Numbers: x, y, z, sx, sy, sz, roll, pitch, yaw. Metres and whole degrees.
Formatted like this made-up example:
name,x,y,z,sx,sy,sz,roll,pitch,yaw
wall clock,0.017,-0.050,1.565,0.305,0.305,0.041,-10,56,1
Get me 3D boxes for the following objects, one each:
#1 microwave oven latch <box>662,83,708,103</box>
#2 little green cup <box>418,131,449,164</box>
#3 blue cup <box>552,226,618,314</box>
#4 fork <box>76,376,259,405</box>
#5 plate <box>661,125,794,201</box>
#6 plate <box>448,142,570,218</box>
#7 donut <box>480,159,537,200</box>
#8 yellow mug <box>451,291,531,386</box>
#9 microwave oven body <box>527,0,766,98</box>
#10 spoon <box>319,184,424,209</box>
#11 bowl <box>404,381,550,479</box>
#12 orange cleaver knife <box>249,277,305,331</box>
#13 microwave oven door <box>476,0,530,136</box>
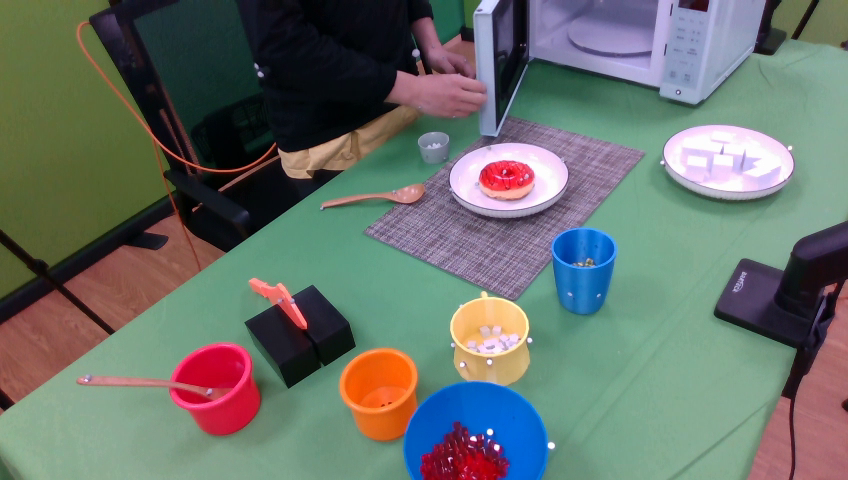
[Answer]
name,x,y,z,sx,sy,sz,roll,pitch,yaw
microwave oven latch,0.517,-0.296,1.204,0.078,0.029,0.030,27,52,35
little green cup,0.020,-0.178,1.168,0.061,0.039,0.061,-3,42,3
blue cup,0.218,0.047,0.826,0.092,0.100,0.092,-6,40,5
fork,-0.295,0.176,0.716,0.209,0.018,0.028,19,27,-36
plate,0.513,-0.128,1.035,0.207,0.039,0.206,-4,40,4
plate,0.148,-0.101,1.053,0.209,0.038,0.208,-4,40,4
donut,0.145,-0.106,1.042,0.099,0.048,0.098,-4,38,4
yellow mug,0.085,0.120,0.786,0.100,0.064,0.130,-7,39,1
microwave oven body,0.472,-0.513,1.317,0.438,0.261,0.327,26,51,34
spoon,-0.094,-0.076,1.074,0.193,0.022,0.041,-5,56,5
bowl,0.058,0.235,0.645,0.151,0.077,0.150,-4,39,4
orange cleaver knife,-0.210,0.088,0.856,0.012,0.077,0.210,-28,15,-25
microwave oven door,0.167,-0.409,1.232,0.039,0.245,0.355,7,42,17
